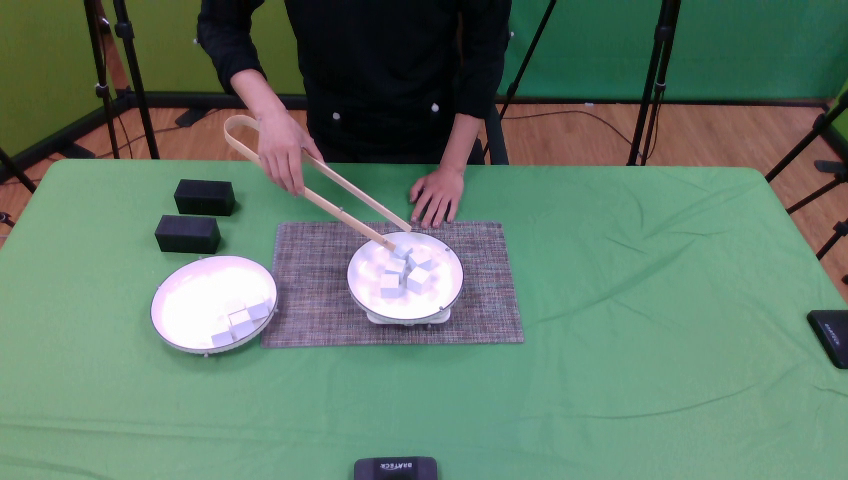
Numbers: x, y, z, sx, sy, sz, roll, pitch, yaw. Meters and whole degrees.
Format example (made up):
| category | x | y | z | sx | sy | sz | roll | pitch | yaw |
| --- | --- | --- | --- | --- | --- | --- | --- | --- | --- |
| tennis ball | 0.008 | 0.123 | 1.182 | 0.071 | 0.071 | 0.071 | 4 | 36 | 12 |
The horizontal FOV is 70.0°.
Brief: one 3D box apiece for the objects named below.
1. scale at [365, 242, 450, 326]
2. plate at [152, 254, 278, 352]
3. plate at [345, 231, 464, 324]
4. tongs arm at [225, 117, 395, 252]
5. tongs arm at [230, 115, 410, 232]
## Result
| category | x | y | z | sx | sy | sz | roll | pitch | yaw |
| --- | --- | --- | --- | --- | --- | --- | --- | --- | --- |
| scale | -0.032 | 0.071 | 1.113 | 0.149 | 0.032 | 0.199 | 0 | 46 | -4 |
| plate | -0.357 | 0.111 | 1.052 | 0.208 | 0.039 | 0.206 | 2 | 46 | -2 |
| plate | -0.034 | 0.069 | 1.069 | 0.209 | 0.038 | 0.208 | 2 | 46 | -2 |
| tongs arm | -0.205 | -0.101 | 1.083 | 0.384 | 0.026 | 0.050 | 32 | 60 | 5 |
| tongs arm | -0.188 | -0.123 | 1.100 | 0.387 | 0.028 | 0.028 | 33 | 64 | 5 |
